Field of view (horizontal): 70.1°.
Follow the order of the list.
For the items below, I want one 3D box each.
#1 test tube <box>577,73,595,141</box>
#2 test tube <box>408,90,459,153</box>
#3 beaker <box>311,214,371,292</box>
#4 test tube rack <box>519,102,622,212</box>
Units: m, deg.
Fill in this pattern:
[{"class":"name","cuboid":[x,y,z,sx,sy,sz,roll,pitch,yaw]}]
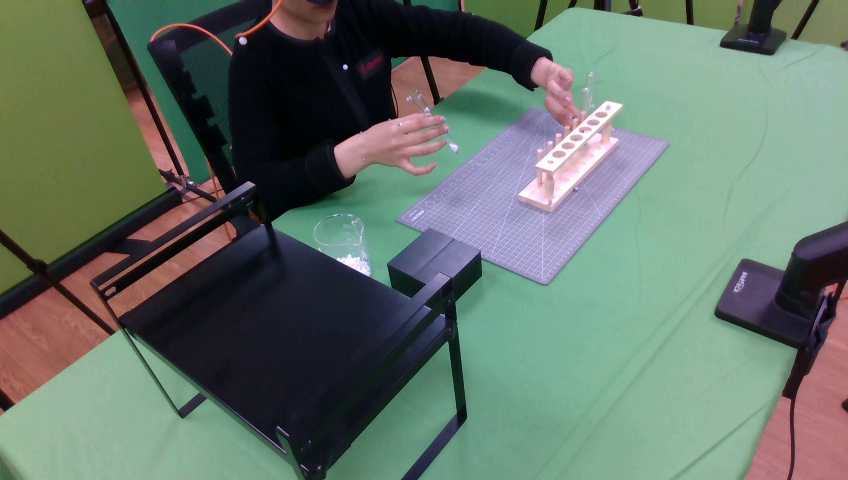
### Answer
[{"class":"test tube","cuboid":[0.288,-0.231,1.081,0.017,0.151,0.017,-2,46,3]},{"class":"test tube","cuboid":[0.019,-0.197,1.018,0.017,0.151,0.017,-20,49,24]},{"class":"beaker","cuboid":[-0.118,0.022,0.908,0.083,0.101,0.074,26,51,32]},{"class":"test tube rack","cuboid":[0.260,-0.155,1.065,0.066,0.085,0.243,24,50,32]}]
